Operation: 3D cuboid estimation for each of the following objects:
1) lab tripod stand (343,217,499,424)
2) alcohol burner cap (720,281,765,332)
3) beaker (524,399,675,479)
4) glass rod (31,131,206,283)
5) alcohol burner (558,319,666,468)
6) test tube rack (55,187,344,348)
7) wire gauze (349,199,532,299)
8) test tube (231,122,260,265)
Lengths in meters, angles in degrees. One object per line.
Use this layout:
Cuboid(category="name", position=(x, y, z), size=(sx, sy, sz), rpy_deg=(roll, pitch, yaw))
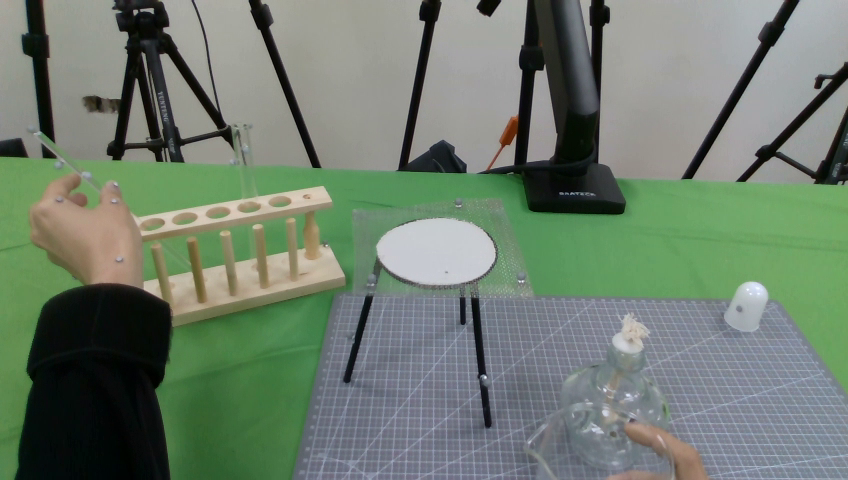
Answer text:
Cuboid(category="lab tripod stand", position=(0.005, 0.060, 0.483), size=(0.148, 0.132, 0.147), rpy_deg=(0, 36, 0))
Cuboid(category="alcohol burner cap", position=(0.305, 0.061, 0.577), size=(0.034, 0.048, 0.033), rpy_deg=(1, 34, 0))
Cuboid(category="beaker", position=(0.098, 0.159, 0.369), size=(0.084, 0.101, 0.073), rpy_deg=(6, 34, 8))
Cuboid(category="glass rod", position=(-0.264, -0.020, 0.540), size=(0.008, 0.202, 0.008), rpy_deg=(-19, 41, 18))
Cuboid(category="alcohol burner", position=(0.138, 0.106, 0.437), size=(0.078, 0.120, 0.077), rpy_deg=(1, 32, 0))
Cuboid(category="test tube rack", position=(-0.205, 0.021, 0.582), size=(0.243, 0.086, 0.066), rpy_deg=(-12, 36, -20))
Cuboid(category="wire gauze", position=(0.006, 0.005, 0.445), size=(0.125, 0.011, 0.120), rpy_deg=(-2, 34, -4))
Cuboid(category="test tube", position=(-0.170, -0.040, 0.585), size=(0.017, 0.151, 0.017), rpy_deg=(2, 31, -1))
